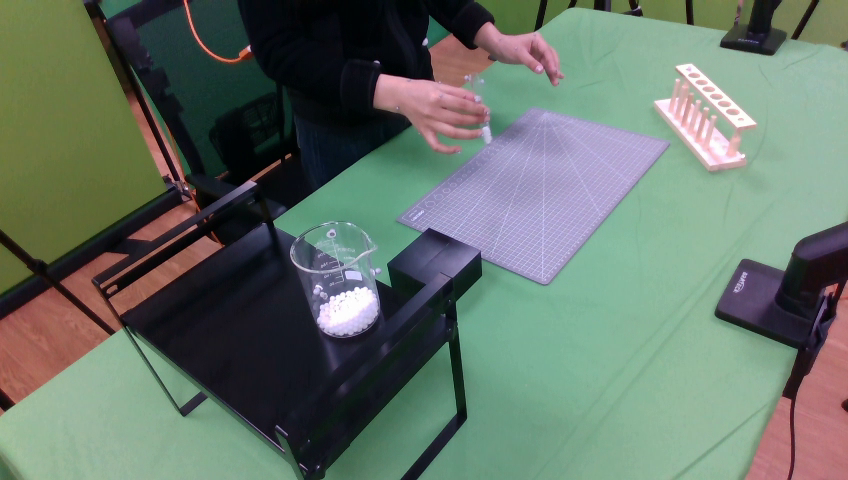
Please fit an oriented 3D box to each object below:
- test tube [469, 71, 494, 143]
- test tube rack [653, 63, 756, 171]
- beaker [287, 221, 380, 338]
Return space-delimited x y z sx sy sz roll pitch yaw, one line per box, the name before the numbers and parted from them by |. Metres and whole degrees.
test tube | 0.092 -0.205 0.952 0.017 0.151 0.017 -8 56 12
test tube rack | 0.510 -0.233 1.120 0.067 0.085 0.241 -9 41 -1
beaker | -0.083 0.042 0.602 0.084 0.101 0.073 -5 41 3
